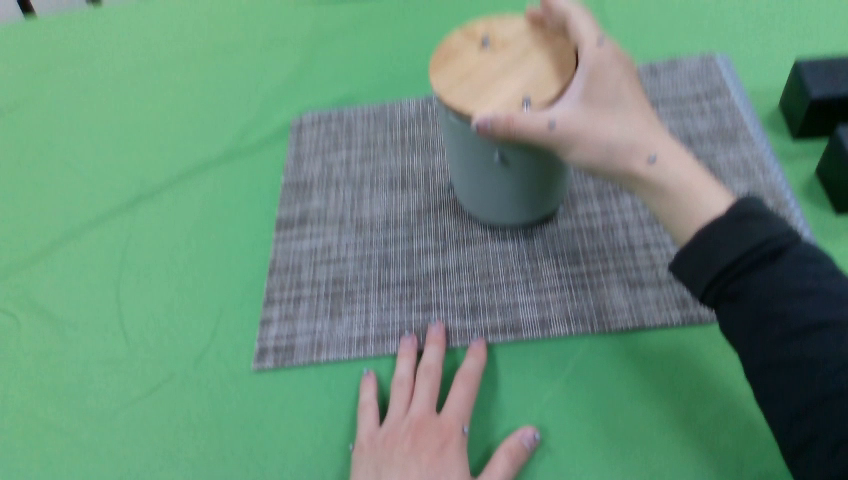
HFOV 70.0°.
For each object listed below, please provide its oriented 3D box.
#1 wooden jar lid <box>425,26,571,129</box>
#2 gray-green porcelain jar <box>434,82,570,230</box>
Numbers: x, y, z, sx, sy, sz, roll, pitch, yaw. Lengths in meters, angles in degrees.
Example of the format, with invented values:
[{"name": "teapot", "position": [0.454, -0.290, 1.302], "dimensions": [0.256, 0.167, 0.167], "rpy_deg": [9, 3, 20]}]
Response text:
[{"name": "wooden jar lid", "position": [0.056, -0.121, 0.457], "dimensions": [0.108, 0.021, 0.107], "rpy_deg": [-4, 56, 7]}, {"name": "gray-green porcelain jar", "position": [0.068, -0.079, 0.509], "dimensions": [0.106, 0.128, 0.105], "rpy_deg": [-5, 52, 7]}]
